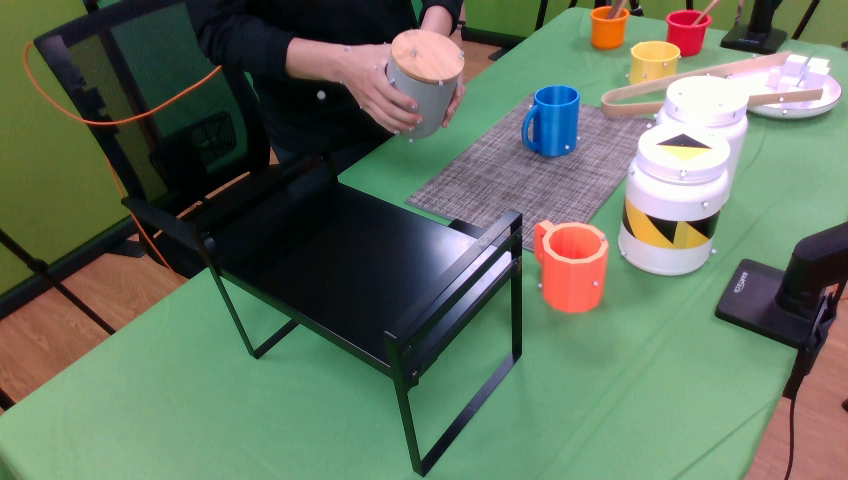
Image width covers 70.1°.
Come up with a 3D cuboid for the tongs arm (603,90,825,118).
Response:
[{"bbox_3d":[0.546,-0.262,1.163,0.386,0.028,0.028,-1,49,18],"label":"tongs arm"}]

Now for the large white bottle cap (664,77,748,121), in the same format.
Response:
[{"bbox_3d":[0.421,-0.212,0.905,0.115,0.018,0.114,-4,40,4],"label":"large white bottle cap"}]

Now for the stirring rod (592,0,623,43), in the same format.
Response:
[{"bbox_3d":[0.460,-0.557,1.461,0.014,0.176,0.006,35,11,23],"label":"stirring rod"}]

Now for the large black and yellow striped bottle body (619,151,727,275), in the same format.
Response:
[{"bbox_3d":[0.354,-0.056,0.865,0.131,0.185,0.130,-4,41,4],"label":"large black and yellow striped bottle body"}]

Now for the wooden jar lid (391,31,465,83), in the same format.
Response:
[{"bbox_3d":[0.005,-0.262,0.877,0.109,0.021,0.108,8,54,-11],"label":"wooden jar lid"}]

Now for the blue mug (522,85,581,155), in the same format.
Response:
[{"bbox_3d":[0.233,-0.218,1.127,0.117,0.106,0.081,-23,43,-16],"label":"blue mug"}]

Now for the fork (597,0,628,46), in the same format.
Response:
[{"bbox_3d":[0.479,-0.558,1.455,0.028,0.019,0.207,35,100,38],"label":"fork"}]

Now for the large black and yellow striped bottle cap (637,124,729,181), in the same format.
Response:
[{"bbox_3d":[0.346,-0.119,0.810,0.115,0.019,0.114,-5,41,5],"label":"large black and yellow striped bottle cap"}]

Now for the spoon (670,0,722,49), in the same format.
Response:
[{"bbox_3d":[0.639,-0.510,1.380,0.193,0.022,0.041,-49,40,19],"label":"spoon"}]

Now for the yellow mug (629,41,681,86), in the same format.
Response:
[{"bbox_3d":[0.495,-0.389,1.321,0.100,0.064,0.130,-14,40,-6],"label":"yellow mug"}]

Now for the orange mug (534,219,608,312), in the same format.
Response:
[{"bbox_3d":[0.200,0.027,0.858,0.084,0.101,0.125,-24,47,-18],"label":"orange mug"}]

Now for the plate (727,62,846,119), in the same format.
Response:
[{"bbox_3d":[0.709,-0.292,1.197,0.207,0.039,0.206,-4,40,4],"label":"plate"}]

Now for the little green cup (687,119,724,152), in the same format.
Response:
[{"bbox_3d":[0.514,-0.191,1.109,0.061,0.039,0.061,-5,40,5],"label":"little green cup"}]

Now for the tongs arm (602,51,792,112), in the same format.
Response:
[{"bbox_3d":[0.552,-0.320,1.224,0.384,0.027,0.050,-10,43,7],"label":"tongs arm"}]

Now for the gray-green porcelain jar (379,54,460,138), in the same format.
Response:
[{"bbox_3d":[-0.010,-0.229,0.928,0.106,0.126,0.105,8,56,-12],"label":"gray-green porcelain jar"}]

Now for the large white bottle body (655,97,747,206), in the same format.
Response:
[{"bbox_3d":[0.430,-0.148,0.959,0.130,0.185,0.130,-4,41,4],"label":"large white bottle body"}]
